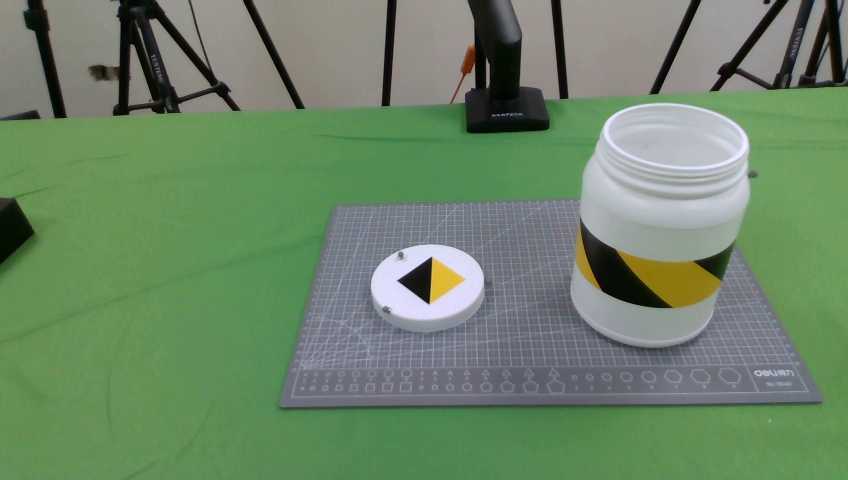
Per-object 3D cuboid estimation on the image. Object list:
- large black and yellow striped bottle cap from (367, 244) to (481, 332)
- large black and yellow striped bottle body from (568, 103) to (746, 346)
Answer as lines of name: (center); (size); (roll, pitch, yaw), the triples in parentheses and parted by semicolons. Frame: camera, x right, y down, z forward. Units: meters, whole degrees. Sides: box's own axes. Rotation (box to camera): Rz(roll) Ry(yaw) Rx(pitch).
large black and yellow striped bottle cap: (0.000, 0.045, 0.611); (0.115, 0.019, 0.114); (-1, 39, 1)
large black and yellow striped bottle body: (0.199, -0.012, 0.531); (0.131, 0.185, 0.129); (-3, 39, 2)
